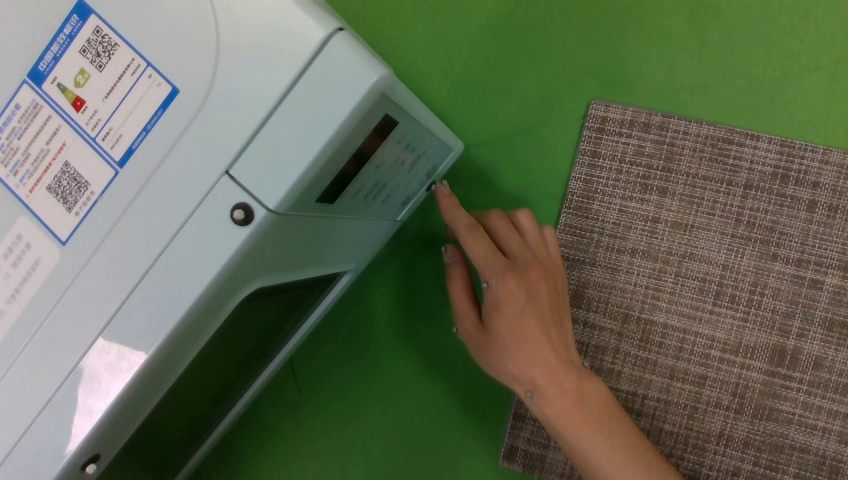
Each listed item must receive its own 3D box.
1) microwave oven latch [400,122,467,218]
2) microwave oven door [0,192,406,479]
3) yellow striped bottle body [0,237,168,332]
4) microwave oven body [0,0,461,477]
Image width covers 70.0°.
[{"bbox_3d":[-0.001,-0.055,0.469,0.030,0.029,0.079,44,100,7],"label":"microwave oven latch"},{"bbox_3d":[-0.165,0.110,0.404,0.039,0.244,0.356,42,99,9],"label":"microwave oven door"},{"bbox_3d":[-0.243,0.029,0.430,0.063,0.120,0.063,0,91,8],"label":"yellow striped bottle body"},{"bbox_3d":[-0.244,-0.018,0.422,0.325,0.260,0.442,42,100,7],"label":"microwave oven body"}]
